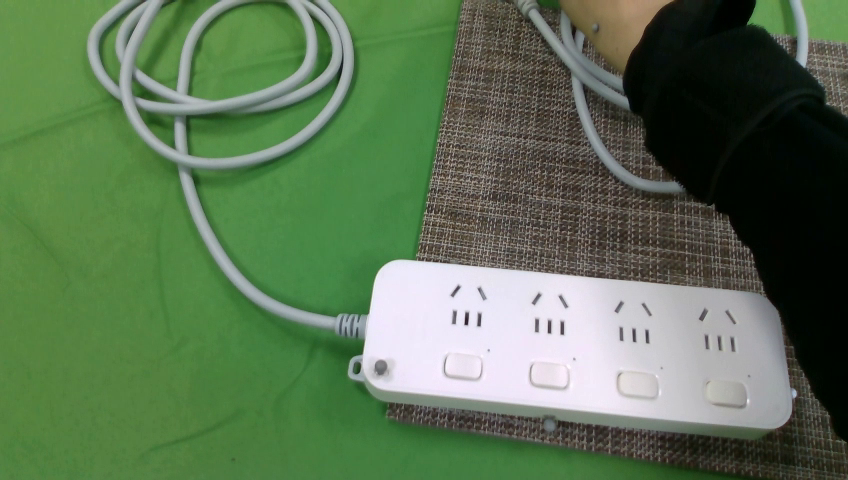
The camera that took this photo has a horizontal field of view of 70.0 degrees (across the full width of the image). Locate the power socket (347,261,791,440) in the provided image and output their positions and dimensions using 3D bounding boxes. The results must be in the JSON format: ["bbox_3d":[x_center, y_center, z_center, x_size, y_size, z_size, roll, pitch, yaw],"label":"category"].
[{"bbox_3d":[0.074,0.056,0.314,0.227,0.033,0.071,5,64,3],"label":"power socket"}]
